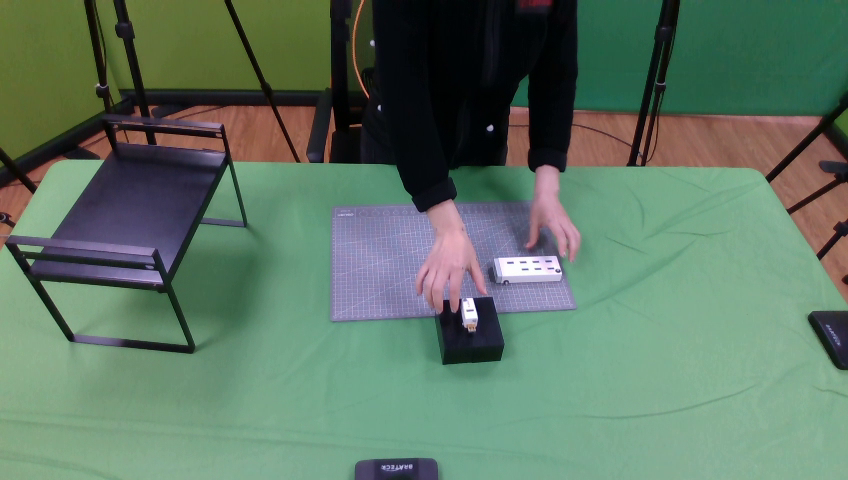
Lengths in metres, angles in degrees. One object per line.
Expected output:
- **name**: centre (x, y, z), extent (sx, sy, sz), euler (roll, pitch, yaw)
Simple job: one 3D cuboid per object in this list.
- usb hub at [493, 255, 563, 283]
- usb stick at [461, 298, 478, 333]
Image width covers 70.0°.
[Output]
- **usb hub**: centre (0.197, 0.055, 1.150), extent (0.125, 0.025, 0.049), euler (-2, 48, -5)
- **usb stick**: centre (0.076, 0.126, 1.008), extent (0.021, 0.027, 0.059), euler (-3, 50, -6)
